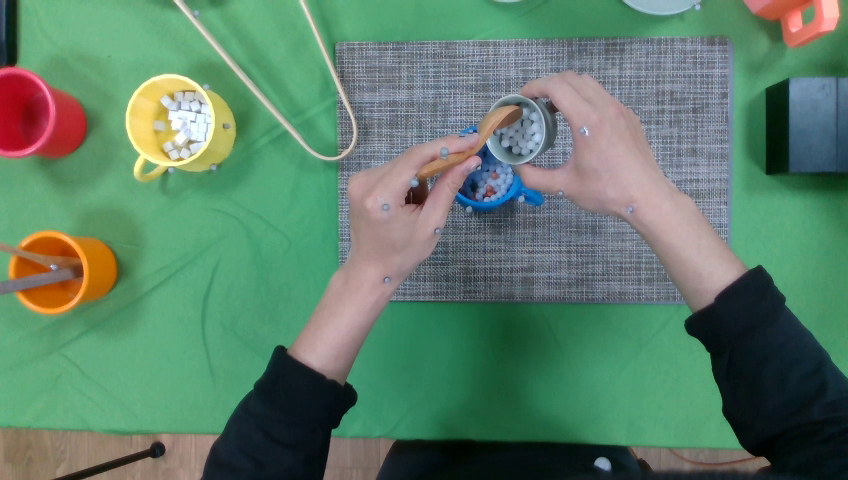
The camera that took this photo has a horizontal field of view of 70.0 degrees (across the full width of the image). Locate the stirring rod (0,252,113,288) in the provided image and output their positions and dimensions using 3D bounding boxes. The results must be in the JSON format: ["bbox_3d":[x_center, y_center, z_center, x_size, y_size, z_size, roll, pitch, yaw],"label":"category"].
[{"bbox_3d":[-0.436,0.040,0.664,0.177,0.006,0.014,-16,87,-39],"label":"stirring rod"}]

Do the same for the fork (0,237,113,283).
[{"bbox_3d":[-0.445,0.005,0.656,0.209,0.018,0.028,28,88,-42],"label":"fork"}]

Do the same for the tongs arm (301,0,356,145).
[{"bbox_3d":[-0.156,-0.291,0.672,0.028,0.027,0.388,-25,98,-5],"label":"tongs arm"}]

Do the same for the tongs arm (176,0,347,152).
[{"bbox_3d":[-0.227,-0.244,0.673,0.051,0.026,0.386,-39,98,0],"label":"tongs arm"}]

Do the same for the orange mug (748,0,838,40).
[{"bbox_3d":[0.398,-0.282,0.638,0.083,0.101,0.126,-10,88,3],"label":"orange mug"}]

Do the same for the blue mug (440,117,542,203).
[{"bbox_3d":[0.074,-0.075,0.652,0.116,0.106,0.082,28,93,1],"label":"blue mug"}]

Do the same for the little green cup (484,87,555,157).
[{"bbox_3d":[0.088,-0.108,0.552,0.061,0.039,0.062,12,111,34],"label":"little green cup"}]

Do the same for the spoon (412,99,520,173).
[{"bbox_3d":[0.037,-0.082,0.473,0.041,0.193,0.022,-25,103,32],"label":"spoon"}]

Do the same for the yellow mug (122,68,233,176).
[{"bbox_3d":[-0.286,-0.125,0.686,0.100,0.064,0.131,39,94,0],"label":"yellow mug"}]

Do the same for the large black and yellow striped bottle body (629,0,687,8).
[{"bbox_3d":[0.260,-0.324,0.599,0.131,0.184,0.131,0,92,3],"label":"large black and yellow striped bottle body"}]
